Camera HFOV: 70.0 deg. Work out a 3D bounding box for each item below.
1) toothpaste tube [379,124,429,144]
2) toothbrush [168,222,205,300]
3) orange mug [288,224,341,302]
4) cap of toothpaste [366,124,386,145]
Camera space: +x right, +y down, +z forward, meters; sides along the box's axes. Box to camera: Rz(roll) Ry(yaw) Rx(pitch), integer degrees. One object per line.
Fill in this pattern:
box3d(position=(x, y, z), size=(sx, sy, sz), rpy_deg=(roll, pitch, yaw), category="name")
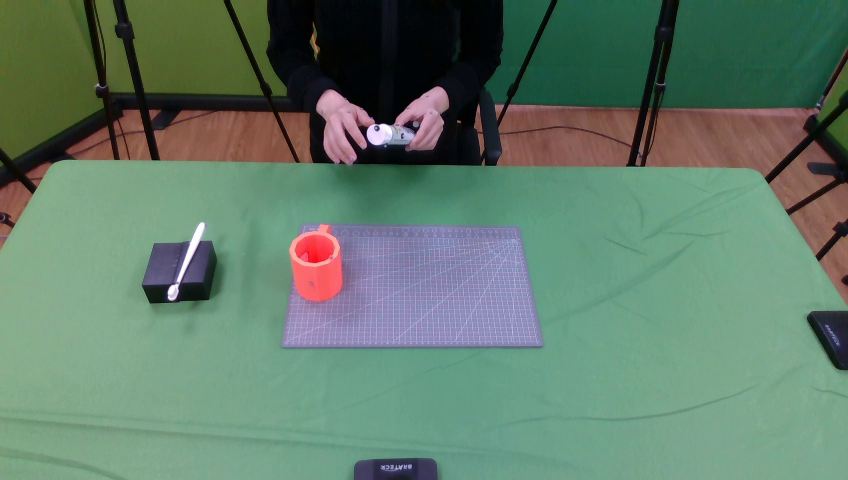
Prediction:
box3d(position=(-0.044, -0.191, 1.096), size=(0.055, 0.034, 0.165), rpy_deg=(42, 24, 13), category="toothpaste tube")
box3d(position=(-0.419, 0.032, 1.070), size=(0.014, 0.017, 0.180), rpy_deg=(1, 46, 2), category="toothbrush")
box3d(position=(-0.192, 0.034, 1.094), size=(0.083, 0.101, 0.125), rpy_deg=(7, 50, 2), category="orange mug")
box3d(position=(-0.081, -0.179, 1.024), size=(0.037, 0.037, 0.011), rpy_deg=(19, 25, 14), category="cap of toothpaste")
